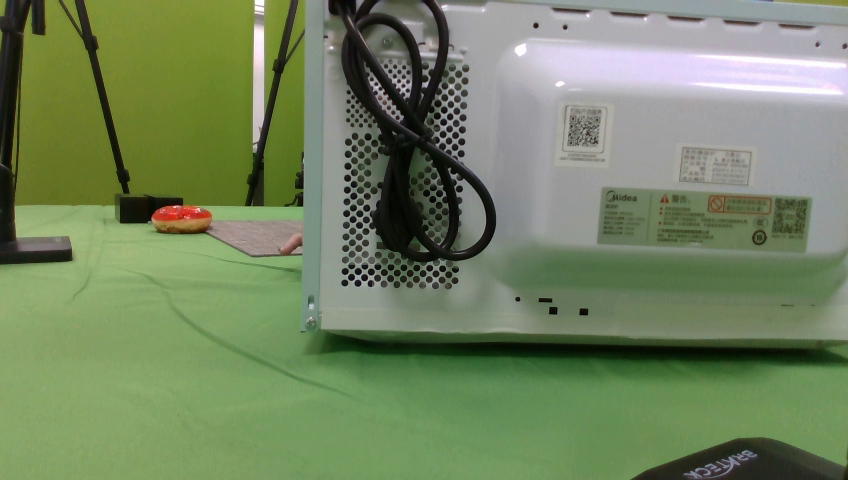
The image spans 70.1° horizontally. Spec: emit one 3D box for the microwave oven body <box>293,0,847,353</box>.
[{"bbox_3d":[0.122,-0.055,0.550,0.442,0.260,0.325,3,7,-5],"label":"microwave oven body"}]

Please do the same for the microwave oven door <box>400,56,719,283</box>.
[{"bbox_3d":[0.155,-0.077,0.698,0.356,0.243,0.039,2,8,-5],"label":"microwave oven door"}]

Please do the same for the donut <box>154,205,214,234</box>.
[{"bbox_3d":[-0.426,-0.037,1.075,0.099,0.048,0.099,2,12,0],"label":"donut"}]

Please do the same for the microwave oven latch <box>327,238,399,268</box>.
[{"bbox_3d":[-0.069,0.015,0.694,0.079,0.029,0.030,3,7,-3],"label":"microwave oven latch"}]
